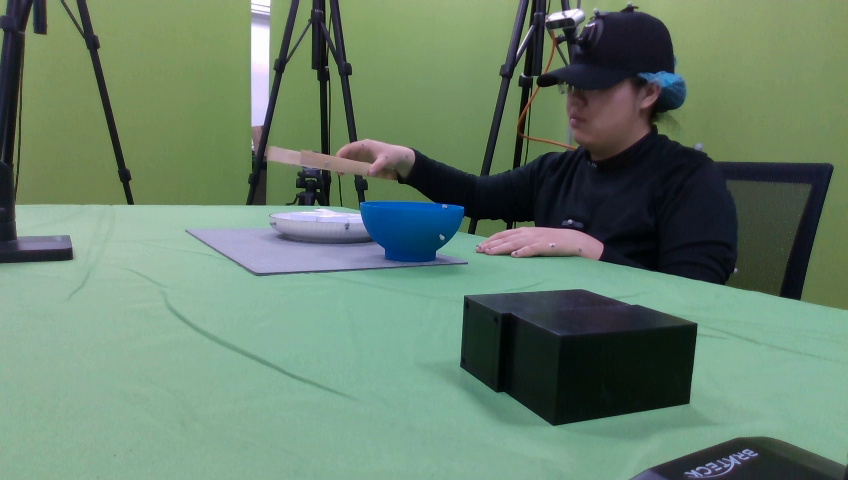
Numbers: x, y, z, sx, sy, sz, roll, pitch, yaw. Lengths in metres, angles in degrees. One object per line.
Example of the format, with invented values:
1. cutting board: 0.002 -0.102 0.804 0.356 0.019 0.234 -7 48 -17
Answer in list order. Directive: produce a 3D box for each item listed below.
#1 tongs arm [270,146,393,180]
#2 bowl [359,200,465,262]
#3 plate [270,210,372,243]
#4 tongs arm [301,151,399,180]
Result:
1. tongs arm: -0.165 -0.149 1.200 0.050 0.026 0.386 10 5 22
2. bowl: -0.018 -0.013 0.859 0.151 0.077 0.151 2 7 0
3. plate: -0.161 -0.023 1.054 0.208 0.039 0.207 2 7 0
4. tongs arm: -0.130 -0.141 1.184 0.028 0.028 0.389 6 4 22
